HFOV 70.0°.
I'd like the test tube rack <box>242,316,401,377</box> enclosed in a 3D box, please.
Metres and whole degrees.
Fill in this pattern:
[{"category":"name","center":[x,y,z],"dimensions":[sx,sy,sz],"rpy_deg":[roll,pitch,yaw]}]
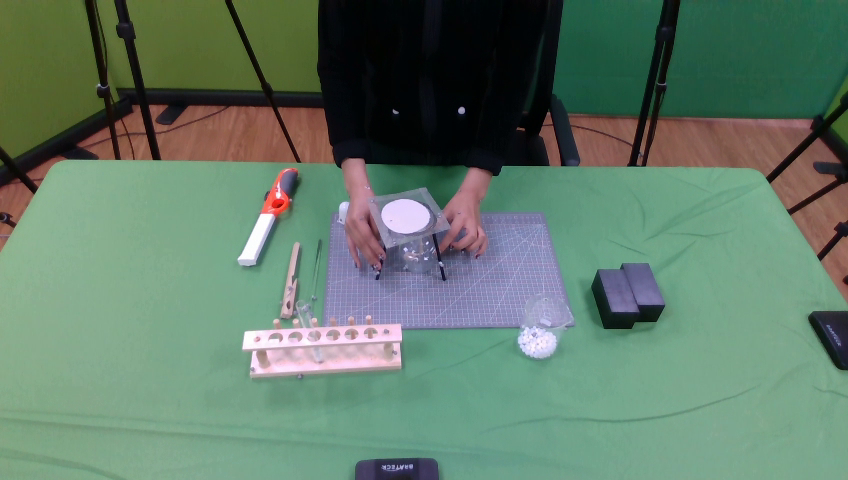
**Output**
[{"category":"test tube rack","center":[-0.161,0.166,0.983],"dimensions":[0.242,0.085,0.066],"rpy_deg":[-2,46,-6]}]

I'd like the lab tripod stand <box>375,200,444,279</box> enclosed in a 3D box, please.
[{"category":"lab tripod stand","center":[-0.023,0.003,1.114],"dimensions":[0.148,0.132,0.147],"rpy_deg":[4,45,-3]}]

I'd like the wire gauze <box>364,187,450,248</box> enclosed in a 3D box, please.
[{"category":"wire gauze","center":[-0.031,-0.045,1.066],"dimensions":[0.121,0.011,0.124],"rpy_deg":[-13,49,-19]}]

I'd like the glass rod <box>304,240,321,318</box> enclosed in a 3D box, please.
[{"category":"glass rod","center":[-0.207,0.068,1.128],"dimensions":[0.008,0.008,0.198],"rpy_deg":[2,43,-2]}]

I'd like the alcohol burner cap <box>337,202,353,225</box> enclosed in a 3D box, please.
[{"category":"alcohol burner cap","center":[-0.161,-0.056,1.223],"dimensions":[0.034,0.048,0.033],"rpy_deg":[2,46,-2]}]

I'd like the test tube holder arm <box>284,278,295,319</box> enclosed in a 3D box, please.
[{"category":"test tube holder arm","center":[-0.241,0.103,1.085],"dimensions":[0.010,0.015,0.087],"rpy_deg":[25,38,-27]}]

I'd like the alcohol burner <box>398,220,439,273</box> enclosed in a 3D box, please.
[{"category":"alcohol burner","center":[-0.010,0.005,1.126],"dimensions":[0.078,0.119,0.077],"rpy_deg":[2,48,-2]}]

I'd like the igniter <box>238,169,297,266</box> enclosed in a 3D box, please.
[{"category":"igniter","center":[-0.313,-0.055,1.224],"dimensions":[0.057,0.025,0.275],"rpy_deg":[1,45,10]}]

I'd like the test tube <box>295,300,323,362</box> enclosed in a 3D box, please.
[{"category":"test tube","center":[-0.176,0.143,0.935],"dimensions":[0.017,0.151,0.017],"rpy_deg":[-2,46,2]}]

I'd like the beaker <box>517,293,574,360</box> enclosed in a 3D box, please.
[{"category":"beaker","center":[0.200,0.149,1.018],"dimensions":[0.084,0.101,0.073],"rpy_deg":[14,47,8]}]

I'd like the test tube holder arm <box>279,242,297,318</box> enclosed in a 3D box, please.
[{"category":"test tube holder arm","center":[-0.249,0.069,1.114],"dimensions":[0.013,0.015,0.177],"rpy_deg":[25,38,-27]}]
